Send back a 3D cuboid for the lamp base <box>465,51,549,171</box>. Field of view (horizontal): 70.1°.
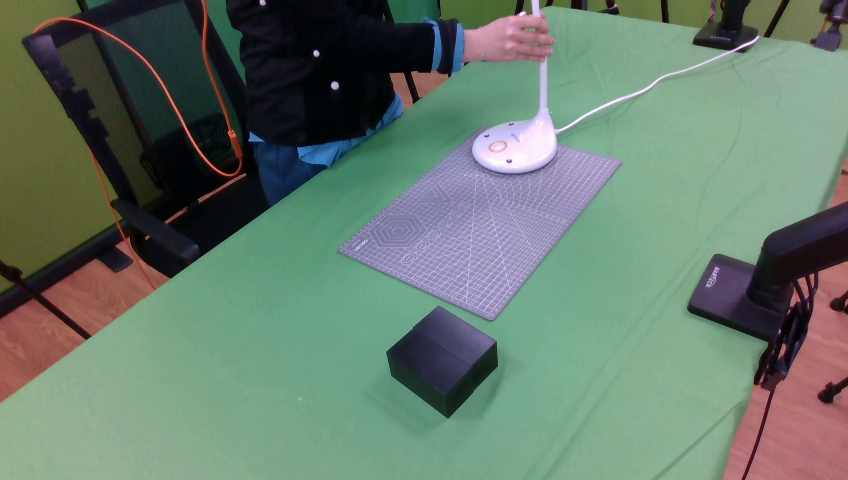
[{"bbox_3d":[0.159,-0.243,1.103,0.180,0.181,0.159,-32,46,-29],"label":"lamp base"}]

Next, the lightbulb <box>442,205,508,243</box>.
[{"bbox_3d":[0.081,-0.019,0.955,0.107,0.059,0.059,17,44,5],"label":"lightbulb"}]
